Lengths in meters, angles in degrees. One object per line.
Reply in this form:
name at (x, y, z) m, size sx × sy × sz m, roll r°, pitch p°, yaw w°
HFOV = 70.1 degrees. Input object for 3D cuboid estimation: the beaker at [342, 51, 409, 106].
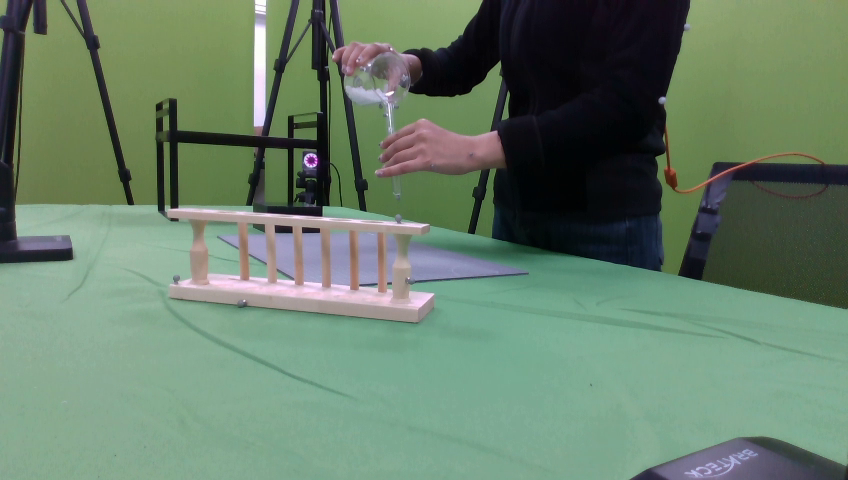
beaker at (-0.081, -0.254, 0.977) m, size 0.074 × 0.084 × 0.100 m, roll -4°, pitch 7°, yaw -33°

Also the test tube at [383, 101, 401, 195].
test tube at (-0.049, -0.142, 0.927) m, size 0.017 × 0.150 × 0.017 m, roll -6°, pitch -13°, yaw -1°

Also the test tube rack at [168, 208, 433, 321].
test tube rack at (-0.116, 0.017, 0.574) m, size 0.242 × 0.085 × 0.067 m, roll 4°, pitch 8°, yaw 13°
